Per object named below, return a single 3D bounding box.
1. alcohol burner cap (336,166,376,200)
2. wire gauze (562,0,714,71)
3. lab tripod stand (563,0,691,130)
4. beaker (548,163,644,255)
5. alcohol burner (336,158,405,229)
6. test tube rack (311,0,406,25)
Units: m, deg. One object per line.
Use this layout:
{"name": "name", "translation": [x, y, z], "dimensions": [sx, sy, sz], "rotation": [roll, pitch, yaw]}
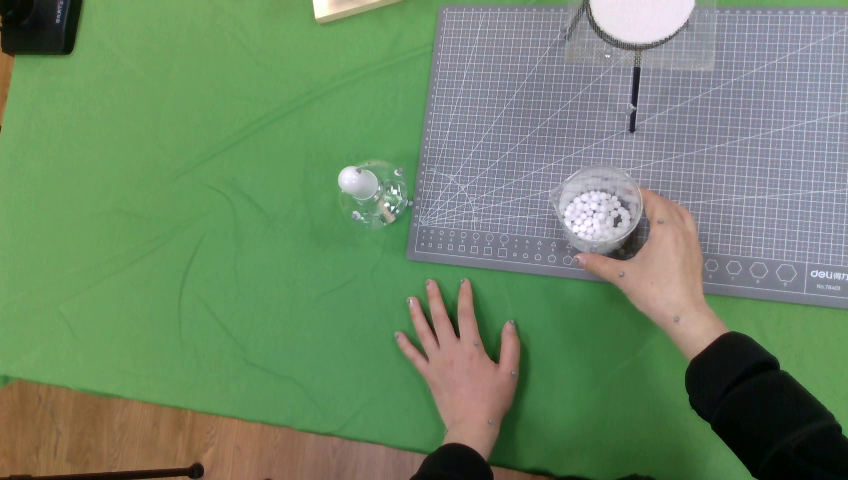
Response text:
{"name": "alcohol burner cap", "translation": [-0.071, -0.059, 0.607], "dimensions": [0.034, 0.048, 0.034], "rotation": [-1, 85, 13]}
{"name": "wire gauze", "translation": [0.184, -0.206, 0.518], "dimensions": [0.124, 0.011, 0.121], "rotation": [5, 86, 15]}
{"name": "lab tripod stand", "translation": [0.200, -0.196, 0.583], "dimensions": [0.148, 0.132, 0.148], "rotation": [-1, 83, 12]}
{"name": "beaker", "translation": [0.165, -0.026, 0.588], "dimensions": [0.083, 0.101, 0.074], "rotation": [12, 85, 16]}
{"name": "alcohol burner", "translation": [-0.061, -0.053, 0.642], "dimensions": [0.078, 0.120, 0.077], "rotation": [-2, 80, 12]}
{"name": "test tube rack", "translation": [-0.030, -0.324, 0.684], "dimensions": [0.242, 0.085, 0.066], "rotation": [-11, 80, 12]}
